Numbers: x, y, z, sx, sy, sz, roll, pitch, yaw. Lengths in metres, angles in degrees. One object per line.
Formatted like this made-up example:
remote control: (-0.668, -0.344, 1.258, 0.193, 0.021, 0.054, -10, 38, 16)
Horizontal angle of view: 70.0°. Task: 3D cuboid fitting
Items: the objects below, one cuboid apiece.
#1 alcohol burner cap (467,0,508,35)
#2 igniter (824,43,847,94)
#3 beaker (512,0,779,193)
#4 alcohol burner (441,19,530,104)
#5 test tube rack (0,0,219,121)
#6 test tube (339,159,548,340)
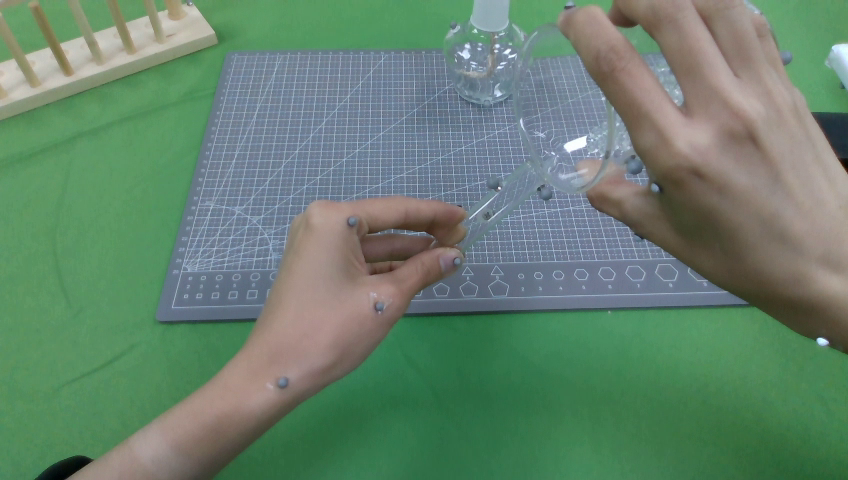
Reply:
alcohol burner cap: (0.054, -0.196, 0.492, 0.034, 0.048, 0.033, 2, 52, -2)
igniter: (0.346, -0.052, 0.423, 0.057, 0.025, 0.274, 0, 51, 4)
beaker: (0.102, -0.069, 0.282, 0.100, 0.084, 0.073, -18, 64, -17)
alcohol burner: (0.054, -0.176, 0.516, 0.078, 0.120, 0.077, 1, 54, -1)
test tube rack: (-0.323, -0.188, 0.544, 0.242, 0.086, 0.066, -27, 58, -19)
test tube: (0.005, 0.010, 0.329, 0.150, 0.017, 0.017, -41, 52, 22)
